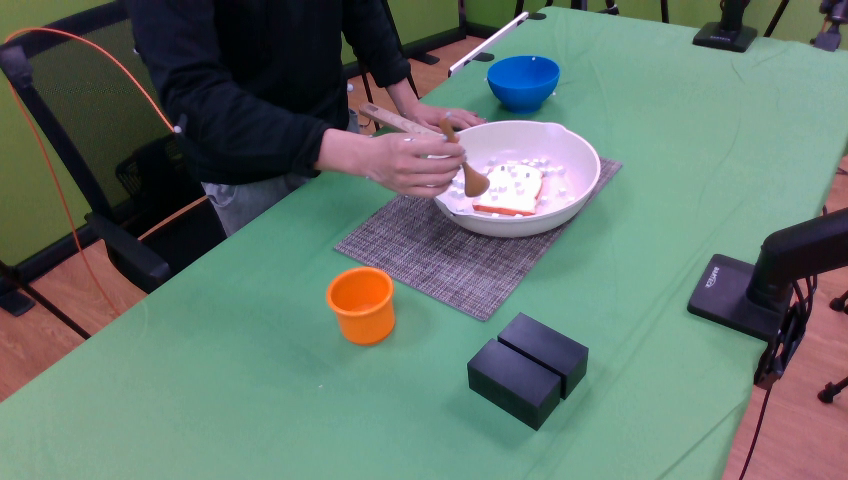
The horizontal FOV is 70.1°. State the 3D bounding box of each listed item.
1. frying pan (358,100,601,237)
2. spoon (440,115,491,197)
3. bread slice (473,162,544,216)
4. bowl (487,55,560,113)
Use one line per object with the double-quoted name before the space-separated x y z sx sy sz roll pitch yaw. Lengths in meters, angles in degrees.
"frying pan" 0.067 -0.153 1.067 0.484 0.103 0.308 32 52 26
"spoon" 0.051 -0.105 0.789 0.041 0.195 0.021 -31 57 6
"bread slice" 0.150 -0.089 1.041 0.106 0.018 0.134 7 44 16
"bowl" 0.208 -0.319 1.266 0.151 0.077 0.150 -4 41 4
